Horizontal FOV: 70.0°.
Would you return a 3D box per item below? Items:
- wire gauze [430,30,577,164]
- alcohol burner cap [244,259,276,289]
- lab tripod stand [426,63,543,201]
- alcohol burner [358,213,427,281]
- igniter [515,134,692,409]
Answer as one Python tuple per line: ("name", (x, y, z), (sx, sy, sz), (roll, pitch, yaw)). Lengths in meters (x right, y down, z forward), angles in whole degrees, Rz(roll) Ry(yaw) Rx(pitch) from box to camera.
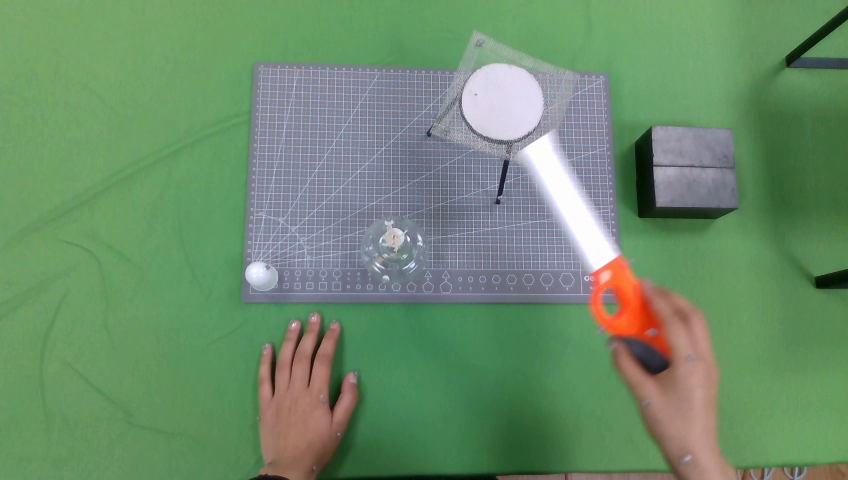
("wire gauze", (0.084, -0.144, 0.624), (0.121, 0.011, 0.124), (23, 77, 0))
("alcohol burner cap", (-0.187, 0.036, 0.682), (0.034, 0.048, 0.033), (1, 78, -5))
("lab tripod stand", (0.078, -0.133, 0.690), (0.148, 0.132, 0.147), (1, 76, -3))
("alcohol burner", (-0.034, 0.005, 0.663), (0.078, 0.119, 0.077), (1, 79, -4))
("igniter", (0.166, 0.031, 0.550), (0.057, 0.025, 0.277), (-32, 93, -8))
